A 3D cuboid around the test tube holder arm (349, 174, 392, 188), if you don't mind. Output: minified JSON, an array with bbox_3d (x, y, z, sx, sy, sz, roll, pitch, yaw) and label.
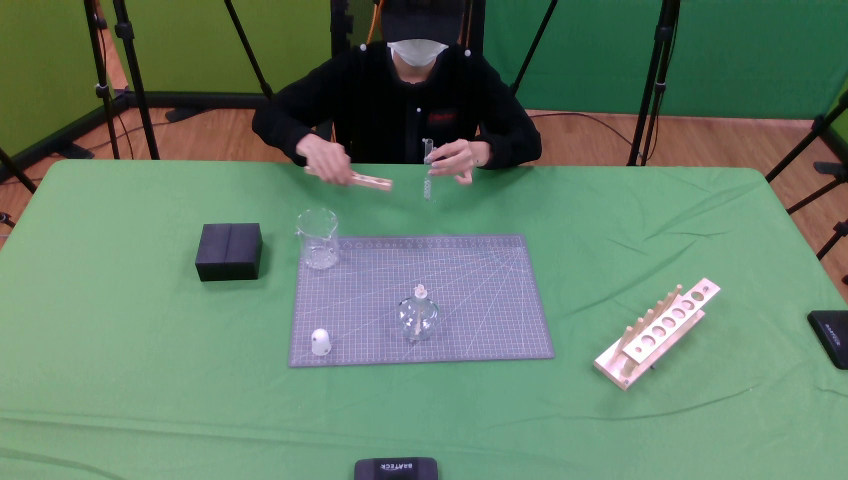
[{"bbox_3d":[-0.103,-0.113,1.158,0.087,0.015,0.010,10,40,13],"label":"test tube holder arm"}]

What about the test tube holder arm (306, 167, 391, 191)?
[{"bbox_3d":[-0.148,-0.118,1.165,0.178,0.015,0.013,12,41,14],"label":"test tube holder arm"}]

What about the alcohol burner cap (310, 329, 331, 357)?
[{"bbox_3d":[-0.173,0.168,1.005,0.034,0.048,0.033,2,46,-2],"label":"alcohol burner cap"}]

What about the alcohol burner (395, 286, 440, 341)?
[{"bbox_3d":[-0.010,0.116,1.018,0.078,0.119,0.077,3,47,-3],"label":"alcohol burner"}]

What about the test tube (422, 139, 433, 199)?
[{"bbox_3d":[0.006,-0.132,1.155,0.017,0.151,0.017,1,50,-1],"label":"test tube"}]

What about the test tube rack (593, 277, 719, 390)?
[{"bbox_3d":[0.401,0.148,1.043,0.242,0.085,0.066,-30,55,-29],"label":"test tube rack"}]

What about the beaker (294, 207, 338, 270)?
[{"bbox_3d":[-0.196,0.003,1.123,0.074,0.101,0.083,-23,53,-24],"label":"beaker"}]
